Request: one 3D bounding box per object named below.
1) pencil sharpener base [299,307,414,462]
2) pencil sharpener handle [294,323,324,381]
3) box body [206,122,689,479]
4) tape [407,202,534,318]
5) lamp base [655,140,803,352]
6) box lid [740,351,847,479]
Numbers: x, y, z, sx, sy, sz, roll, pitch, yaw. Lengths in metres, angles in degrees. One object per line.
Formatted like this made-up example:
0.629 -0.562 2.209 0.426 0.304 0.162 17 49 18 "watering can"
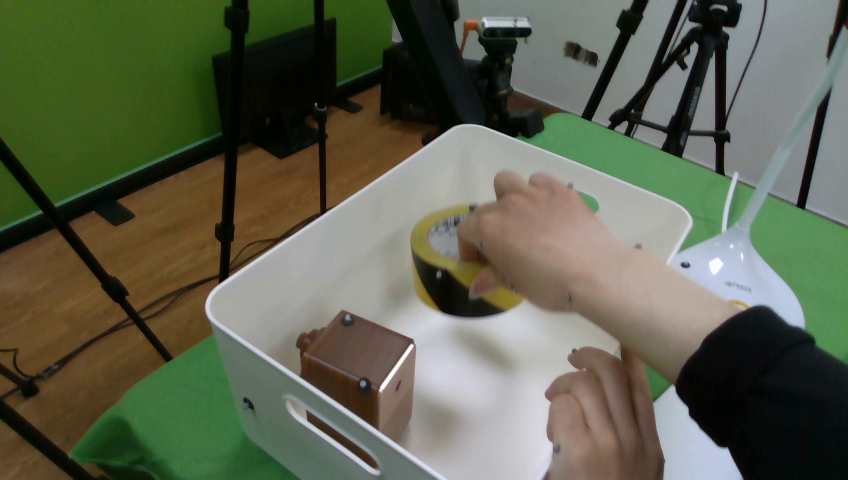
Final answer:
-0.056 0.118 0.496 0.076 0.108 0.061 20 43 18 "pencil sharpener base"
-0.104 0.094 0.497 0.030 0.068 0.036 21 12 18 "pencil sharpener handle"
0.038 0.066 0.536 0.252 0.162 0.363 27 44 23 "box body"
0.042 0.015 0.553 0.117 0.053 0.116 -2 34 2 "tape"
0.348 -0.004 0.644 0.160 0.181 0.178 9 38 3 "lamp base"
0.423 0.240 0.495 0.372 0.015 0.260 -26 49 -33 "box lid"
